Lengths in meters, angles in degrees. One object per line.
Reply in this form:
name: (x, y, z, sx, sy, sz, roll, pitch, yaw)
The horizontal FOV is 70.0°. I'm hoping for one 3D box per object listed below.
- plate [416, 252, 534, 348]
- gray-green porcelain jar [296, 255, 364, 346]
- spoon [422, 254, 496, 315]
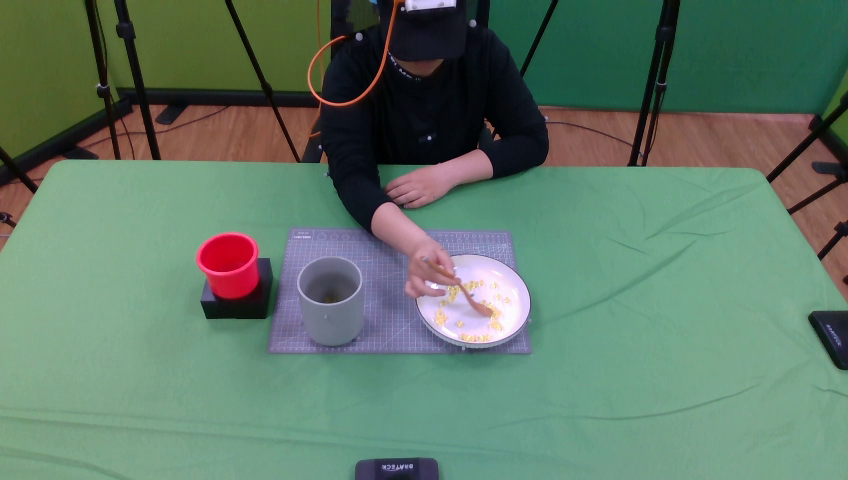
plate: (0.090, 0.109, 1.084, 0.208, 0.039, 0.206, 2, 46, -2)
gray-green porcelain jar: (-0.153, 0.106, 1.008, 0.106, 0.127, 0.105, 2, 46, -2)
spoon: (0.060, 0.075, 1.026, 0.021, 0.195, 0.041, -45, 33, 1)
